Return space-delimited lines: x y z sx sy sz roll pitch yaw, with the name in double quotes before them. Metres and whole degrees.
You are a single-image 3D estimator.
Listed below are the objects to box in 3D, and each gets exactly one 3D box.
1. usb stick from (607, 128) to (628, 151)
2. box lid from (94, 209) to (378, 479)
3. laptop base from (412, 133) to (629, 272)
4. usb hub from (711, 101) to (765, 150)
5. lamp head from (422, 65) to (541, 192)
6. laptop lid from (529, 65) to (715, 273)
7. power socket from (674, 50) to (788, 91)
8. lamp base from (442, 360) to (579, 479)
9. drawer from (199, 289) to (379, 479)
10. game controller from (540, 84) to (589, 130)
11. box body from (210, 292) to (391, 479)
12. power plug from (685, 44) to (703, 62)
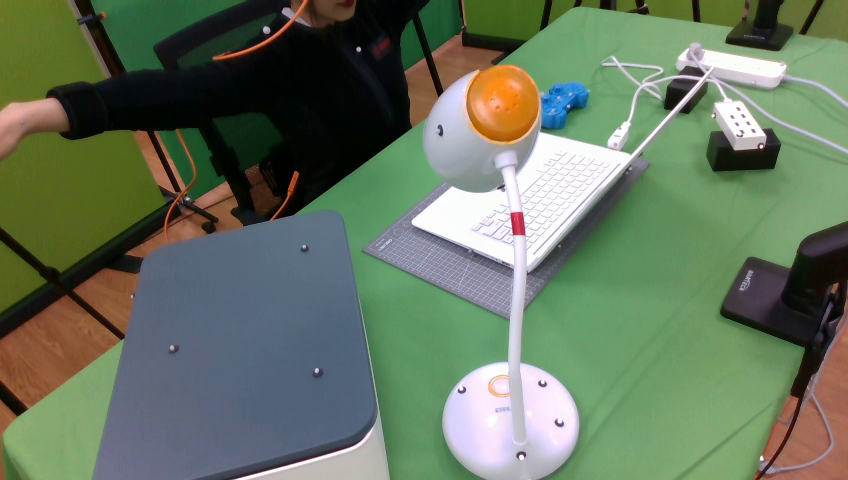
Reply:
"usb stick" 0.353 -0.178 1.110 0.021 0.027 0.059 21 57 30
"box lid" -0.202 0.094 0.680 0.264 0.015 0.368 -13 39 -5
"laptop base" 0.176 -0.084 1.055 0.233 0.023 0.355 21 48 36
"usb hub" 0.537 -0.198 1.038 0.049 0.025 0.124 -4 39 8
"lamp head" 0.060 -0.106 0.560 0.113 0.112 0.122 -16 0 -8
"laptop lid" 0.294 -0.104 0.895 0.013 0.241 0.358 42 56 10
"power socket" 0.646 -0.363 1.284 0.225 0.033 0.072 25 52 34
"lamp base" 0.094 0.158 0.657 0.161 0.181 0.178 -14 42 -5
"drawer" -0.172 0.176 0.760 0.195 0.073 0.210 -13 42 -8
"game controller" 0.273 -0.282 1.251 0.096 0.052 0.155 26 52 30
"box body" -0.190 0.161 0.723 0.255 0.161 0.361 -13 40 -5
"power plug" 0.568 -0.390 1.294 0.073 0.053 0.035 -33 46 -22
